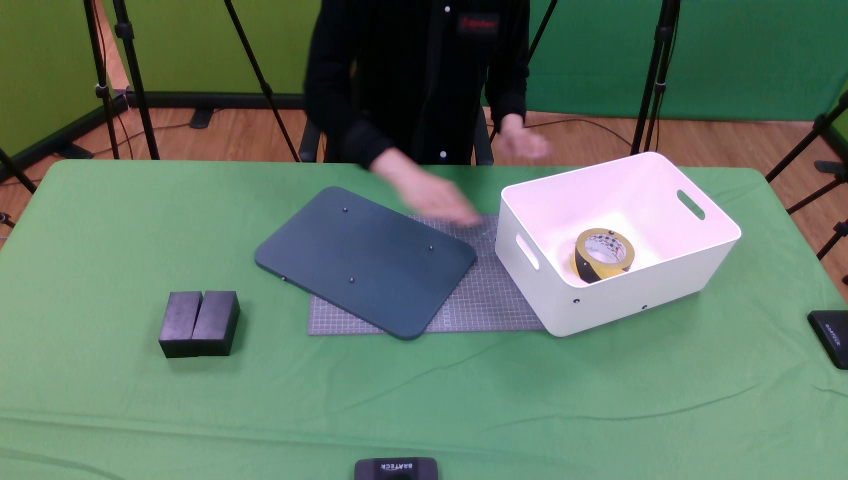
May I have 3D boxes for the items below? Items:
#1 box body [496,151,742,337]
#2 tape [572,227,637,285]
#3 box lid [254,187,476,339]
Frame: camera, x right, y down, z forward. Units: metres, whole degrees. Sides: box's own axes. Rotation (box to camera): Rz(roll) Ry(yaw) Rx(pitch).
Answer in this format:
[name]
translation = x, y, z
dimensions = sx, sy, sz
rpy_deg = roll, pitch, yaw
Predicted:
[box body]
translation = 0.340, 0.004, 1.118
dimensions = 0.364, 0.161, 0.252
rpy_deg = -15, 49, -18
[tape]
translation = 0.344, 0.032, 1.159
dimensions = 0.117, 0.053, 0.116
rpy_deg = 2, 46, -2
[box lid]
translation = -0.112, 0.028, 1.168
dimensions = 0.370, 0.015, 0.262
rpy_deg = 24, 49, 19
